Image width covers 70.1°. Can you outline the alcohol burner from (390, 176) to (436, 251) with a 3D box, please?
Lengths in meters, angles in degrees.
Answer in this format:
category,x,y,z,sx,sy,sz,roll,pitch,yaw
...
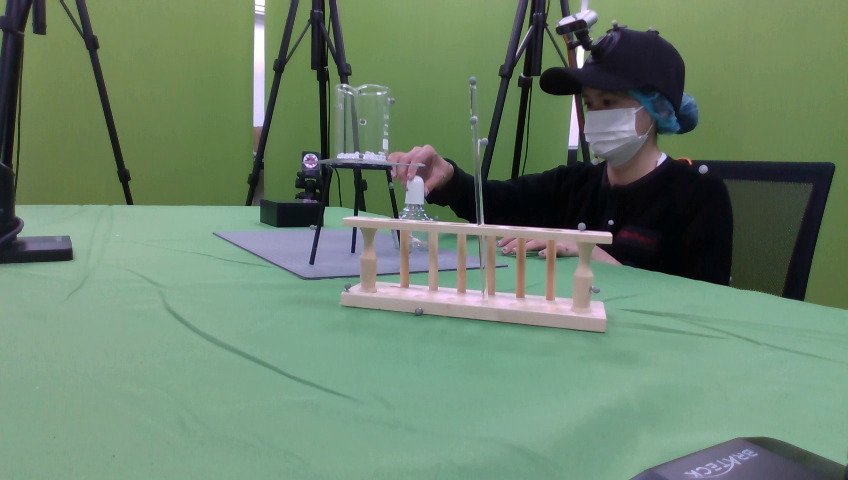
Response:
category,x,y,z,sx,sy,sz,roll,pitch,yaw
alcohol burner,-0.016,-0.042,0.955,0.078,0.119,0.078,4,5,0

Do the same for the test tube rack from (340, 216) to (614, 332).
category,x,y,z,sx,sy,sz,roll,pitch,yaw
test tube rack,0.048,0.026,0.568,0.242,0.085,0.067,4,8,13

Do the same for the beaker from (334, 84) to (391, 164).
category,x,y,z,sx,sy,sz,roll,pitch,yaw
beaker,-0.082,-0.149,0.791,0.074,0.100,0.084,2,5,4

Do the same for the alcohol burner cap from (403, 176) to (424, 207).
category,x,y,z,sx,sy,sz,roll,pitch,yaw
alcohol burner cap,-0.015,-0.077,0.951,0.034,0.048,0.034,3,6,0

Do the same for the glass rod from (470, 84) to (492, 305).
category,x,y,z,sx,sy,sz,roll,pitch,yaw
glass rod,0.051,-0.036,0.535,0.008,0.199,0.008,-5,10,1

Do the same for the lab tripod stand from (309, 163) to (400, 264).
category,x,y,z,sx,sy,sz,roll,pitch,yaw
lab tripod stand,-0.091,-0.037,0.813,0.148,0.131,0.148,1,6,0

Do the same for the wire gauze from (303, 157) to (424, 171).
category,x,y,z,sx,sy,sz,roll,pitch,yaw
wire gauze,-0.082,-0.101,0.799,0.126,0.011,0.121,1,7,-30
